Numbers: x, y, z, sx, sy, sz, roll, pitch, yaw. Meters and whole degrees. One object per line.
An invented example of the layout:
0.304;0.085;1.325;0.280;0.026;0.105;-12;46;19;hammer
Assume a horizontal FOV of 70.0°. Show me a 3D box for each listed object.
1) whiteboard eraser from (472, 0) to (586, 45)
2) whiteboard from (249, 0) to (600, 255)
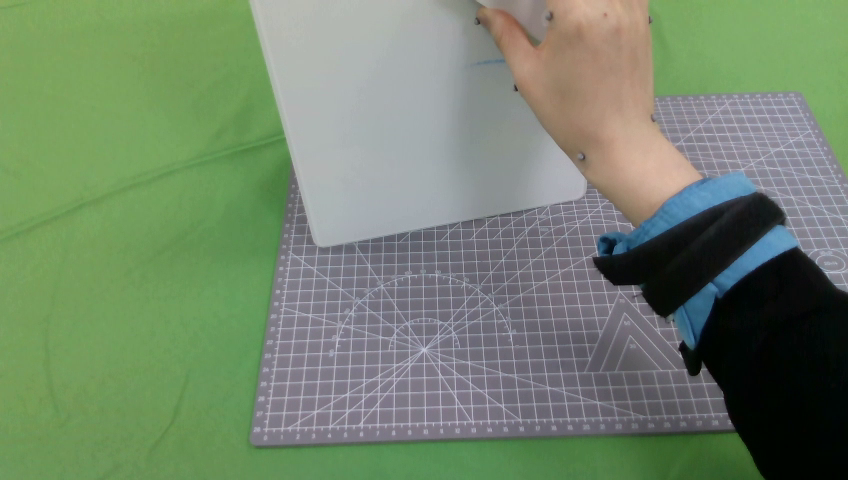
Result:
0.055;-0.154;0.365;0.102;0.041;0.018;22;27;-27;whiteboard eraser
-0.002;-0.170;0.431;0.217;0.308;0.142;-10;36;-4;whiteboard
